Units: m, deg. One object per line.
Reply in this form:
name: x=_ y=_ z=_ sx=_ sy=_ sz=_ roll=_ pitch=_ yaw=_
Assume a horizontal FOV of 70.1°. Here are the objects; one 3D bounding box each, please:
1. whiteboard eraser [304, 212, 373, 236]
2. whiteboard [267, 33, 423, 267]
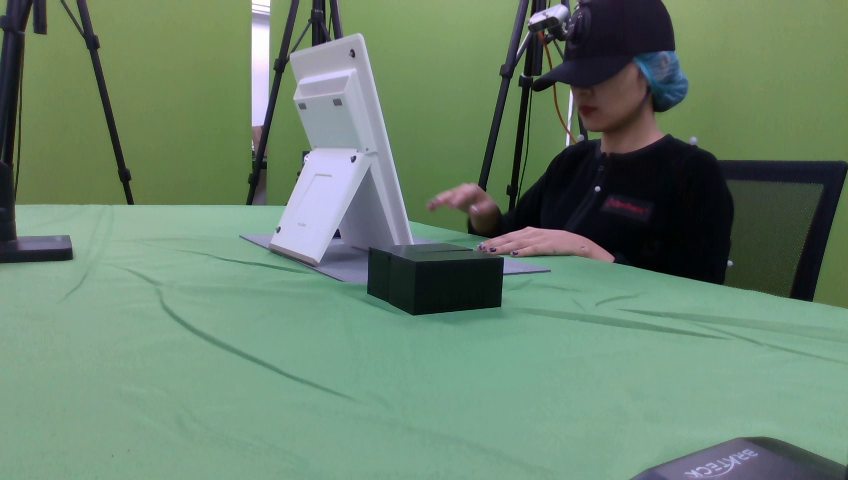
whiteboard eraser: x=-0.152 y=-0.029 z=1.077 sx=0.113 sy=0.042 sz=0.055 roll=-2 pitch=8 yaw=-31
whiteboard: x=-0.153 y=-0.097 z=0.819 sx=0.144 sy=0.305 sz=0.216 roll=-25 pitch=21 yaw=-29
